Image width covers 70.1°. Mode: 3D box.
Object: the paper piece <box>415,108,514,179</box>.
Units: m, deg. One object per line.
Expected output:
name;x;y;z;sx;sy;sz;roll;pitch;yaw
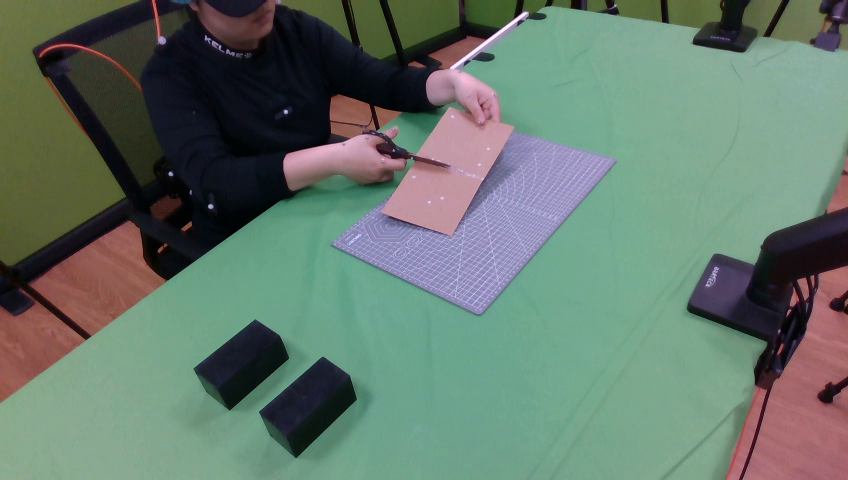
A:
paper piece;0.076;-0.179;1.098;0.135;0.009;0.138;25;59;13

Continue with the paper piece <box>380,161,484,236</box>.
paper piece;0.015;-0.076;1.033;0.135;0.004;0.135;19;57;19

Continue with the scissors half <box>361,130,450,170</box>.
scissors half;-0.032;-0.157;1.078;0.175;0.040;0.013;24;64;1

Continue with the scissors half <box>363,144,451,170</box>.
scissors half;-0.031;-0.145;1.096;0.174;0.040;0.013;13;57;21
